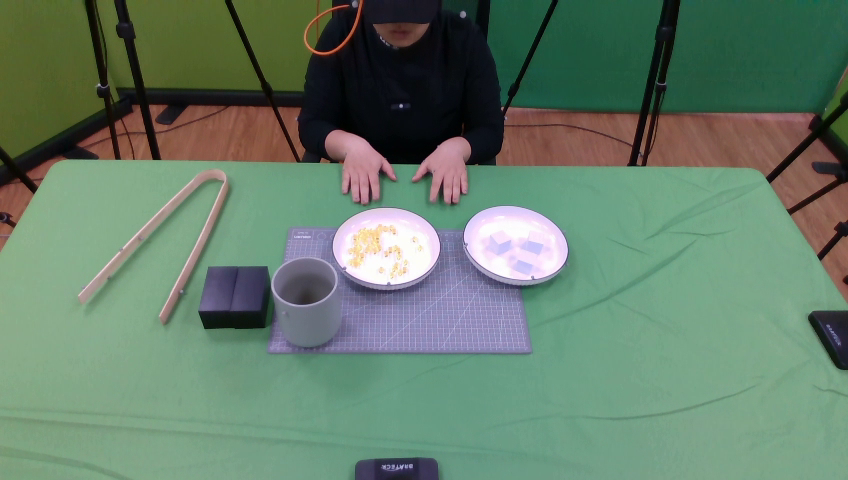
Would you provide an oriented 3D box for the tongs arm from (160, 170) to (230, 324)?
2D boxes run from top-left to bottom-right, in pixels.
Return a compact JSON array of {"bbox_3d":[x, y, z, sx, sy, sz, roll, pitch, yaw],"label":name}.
[{"bbox_3d":[-0.433,-0.001,1.164,0.028,0.028,0.385,4,46,2],"label":"tongs arm"}]

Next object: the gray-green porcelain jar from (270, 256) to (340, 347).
[{"bbox_3d":[-0.193,0.107,1.004,0.106,0.127,0.105,2,46,-2],"label":"gray-green porcelain jar"}]

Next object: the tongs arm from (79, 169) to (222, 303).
[{"bbox_3d":[-0.512,-0.020,1.169,0.050,0.026,0.383,16,46,9],"label":"tongs arm"}]

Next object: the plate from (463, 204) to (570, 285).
[{"bbox_3d":[0.178,0.011,1.184,0.209,0.038,0.208,3,46,-3],"label":"plate"}]

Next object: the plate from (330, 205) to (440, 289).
[{"bbox_3d":[-0.074,0.017,1.160,0.208,0.039,0.206,2,46,-2],"label":"plate"}]
